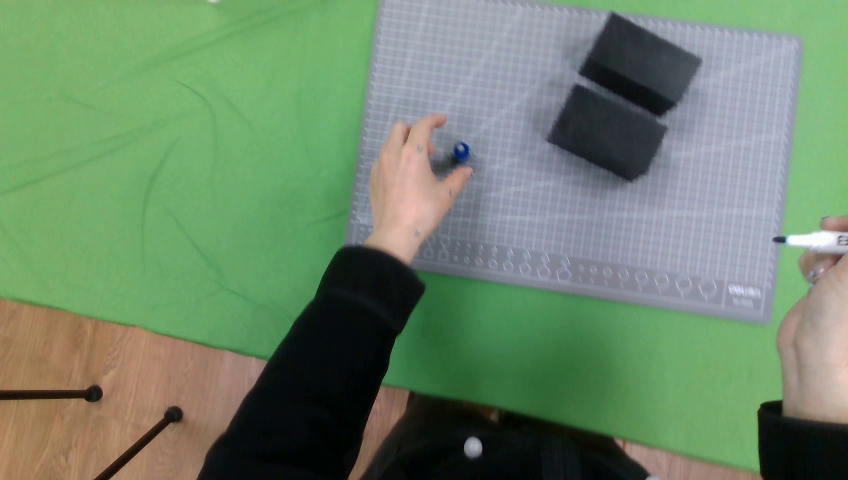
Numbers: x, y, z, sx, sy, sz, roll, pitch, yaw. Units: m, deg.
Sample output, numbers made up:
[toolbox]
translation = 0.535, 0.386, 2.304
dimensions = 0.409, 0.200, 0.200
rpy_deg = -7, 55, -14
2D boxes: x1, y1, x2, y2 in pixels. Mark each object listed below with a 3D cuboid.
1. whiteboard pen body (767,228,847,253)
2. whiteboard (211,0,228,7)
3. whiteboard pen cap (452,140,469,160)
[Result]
[whiteboard pen body]
translation = 0.298, 0.002, 0.386
dimensions = 0.140, 0.017, 0.017
rpy_deg = 4, 87, 22
[whiteboard]
translation = -0.192, -0.417, 0.553
dimensions = 0.217, 0.308, 0.142
rpy_deg = -27, 66, 1
[whiteboard pen cap]
translation = 0.038, -0.093, 0.632
dimensions = 0.018, 0.033, 0.018
rpy_deg = 0, 89, 1
